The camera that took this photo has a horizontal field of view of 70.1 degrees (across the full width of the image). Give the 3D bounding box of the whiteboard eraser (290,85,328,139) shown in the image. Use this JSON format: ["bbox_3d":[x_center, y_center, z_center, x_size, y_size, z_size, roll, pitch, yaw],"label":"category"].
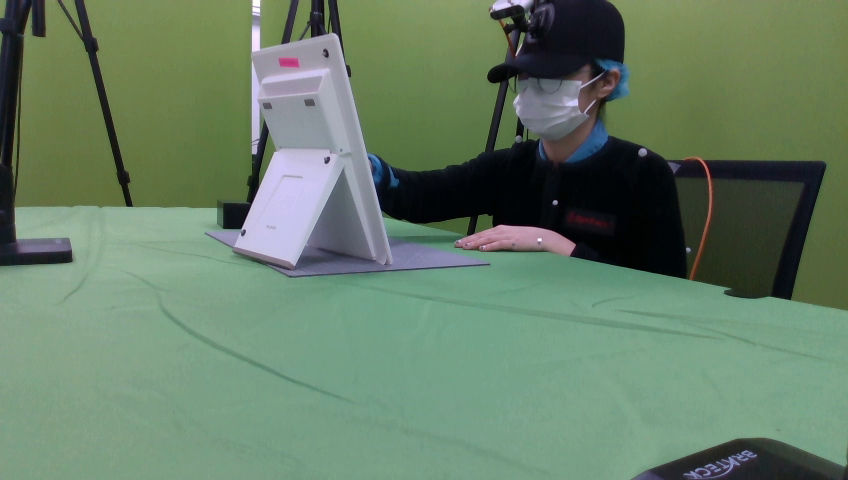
[{"bbox_3d":[-0.160,-0.176,0.840,0.019,0.041,0.101,-28,-7,-35],"label":"whiteboard eraser"}]

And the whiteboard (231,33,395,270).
[{"bbox_3d":[-0.193,-0.094,0.805,0.144,0.305,0.216,-28,25,-35],"label":"whiteboard"}]
